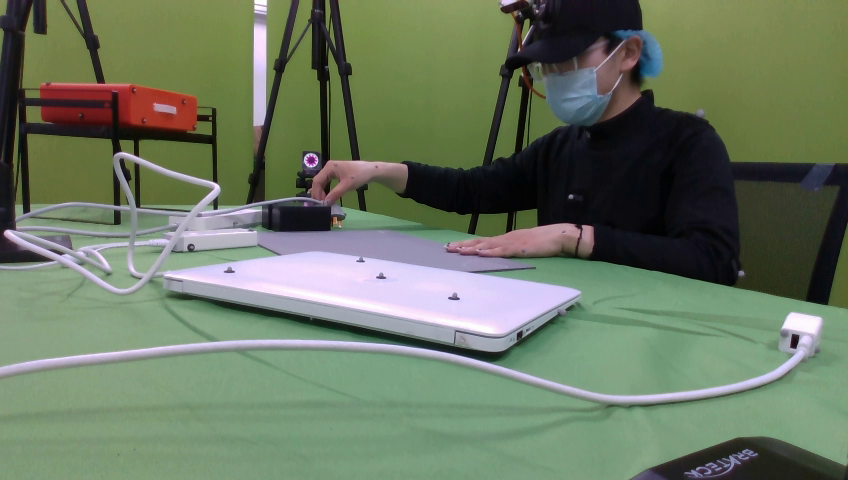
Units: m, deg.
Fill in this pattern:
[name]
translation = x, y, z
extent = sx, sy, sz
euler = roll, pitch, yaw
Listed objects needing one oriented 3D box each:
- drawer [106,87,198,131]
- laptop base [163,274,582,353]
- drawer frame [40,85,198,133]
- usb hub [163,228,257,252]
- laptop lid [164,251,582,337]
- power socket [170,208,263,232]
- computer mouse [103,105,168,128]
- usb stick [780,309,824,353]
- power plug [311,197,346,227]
[drawer]
translation = -0.609, -0.264, 1.235
extent = 0.211, 0.073, 0.195
euler = 3, 8, 16
[laptop base]
translation = -0.046, 0.052, 0.598
extent = 0.353, 0.023, 0.236
euler = 6, 6, 28
[drawer frame]
translation = -0.612, -0.266, 1.235
extent = 0.213, 0.082, 0.202
euler = 4, 8, 15
[usb hub]
translation = -0.314, -0.001, 0.894
extent = 0.049, 0.025, 0.126
euler = 9, 11, 41
[laptop lid]
translation = -0.045, 0.040, 0.599
extent = 0.355, 0.013, 0.243
euler = 7, 7, 30
[power socket]
translation = -0.381, -0.038, 1.129
extent = 0.072, 0.032, 0.227
euler = 4, 8, 15
[computer mouse]
translation = -0.582, -0.249, 1.223
extent = 0.118, 0.041, 0.062
euler = 2, 3, -39
[usb stick]
translation = 0.311, 0.072, 0.497
extent = 0.027, 0.021, 0.059
euler = 8, 15, 34
[power plug]
translation = -0.194, -0.054, 1.219
extent = 0.073, 0.052, 0.035
euler = 5, -22, -21
